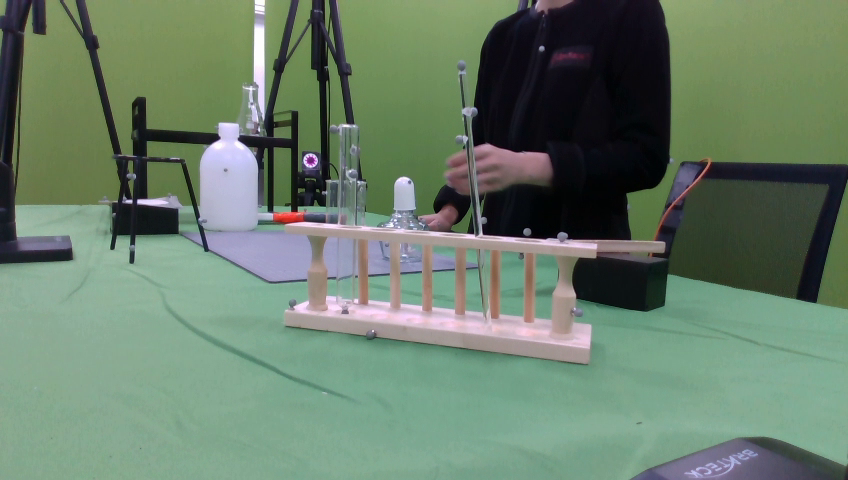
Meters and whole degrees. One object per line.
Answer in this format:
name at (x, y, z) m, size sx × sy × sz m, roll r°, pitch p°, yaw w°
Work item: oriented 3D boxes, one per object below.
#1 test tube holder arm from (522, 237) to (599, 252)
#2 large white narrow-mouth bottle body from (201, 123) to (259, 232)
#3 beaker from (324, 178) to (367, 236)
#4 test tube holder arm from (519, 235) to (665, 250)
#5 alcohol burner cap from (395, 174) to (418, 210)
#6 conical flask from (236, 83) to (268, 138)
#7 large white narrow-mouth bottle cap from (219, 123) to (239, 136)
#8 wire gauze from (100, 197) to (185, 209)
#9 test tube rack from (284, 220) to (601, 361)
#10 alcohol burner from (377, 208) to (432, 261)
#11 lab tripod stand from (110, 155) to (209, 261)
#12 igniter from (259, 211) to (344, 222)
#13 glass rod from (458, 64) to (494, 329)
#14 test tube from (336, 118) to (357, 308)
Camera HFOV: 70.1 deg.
test tube holder arm at (0.144, 0.005, 0.636) m, size 0.088 × 0.015 × 0.010 m, roll -1°, pitch 17°, yaw -20°
large white narrow-mouth bottle body at (-0.358, -0.116, 1.116) m, size 0.102 × 0.194 × 0.102 m, roll 2°, pitch 8°, yaw 0°
beaker at (-0.139, -0.060, 1.083) m, size 0.074 × 0.100 × 0.083 m, roll -3°, pitch 10°, yaw -31°
test tube holder arm at (0.186, 0.003, 0.656) m, size 0.179 × 0.015 × 0.013 m, roll -1°, pitch 17°, yaw -20°
alcohol burner cap at (-0.026, -0.067, 0.834) m, size 0.034 × 0.048 × 0.034 m, roll -2°, pitch 12°, yaw 1°
conical flask at (-0.400, -0.298, 1.396) m, size 0.075 × 0.122 × 0.075 m, roll 2°, pitch 8°, yaw 0°
large white narrow-mouth bottle cap at (-0.356, -0.201, 1.104) m, size 0.038 × 0.024 × 0.037 m, roll 2°, pitch 8°, yaw 0°
wire gauze at (-0.469, -0.062, 1.008) m, size 0.126 × 0.011 × 0.121 m, roll -2°, pitch 8°, yaw -25°
test tube rack at (0.013, 0.032, 0.482) m, size 0.242 × 0.085 × 0.067 m, roll 4°, pitch 7°, yaw 16°
alcohol burner at (-0.027, -0.031, 0.838) m, size 0.078 × 0.119 × 0.078 m, roll 0°, pitch 6°, yaw 0°
lab tripod stand at (-0.361, -0.046, 0.806) m, size 0.148 × 0.131 × 0.148 m, roll 2°, pitch 5°, yaw 0°
igniter at (-0.302, -0.047, 1.249) m, size 0.278 × 0.025 × 0.057 m, roll -2°, pitch -2°, yaw -27°
glass rod at (0.039, -0.029, 0.449) m, size 0.008 × 0.199 × 0.008 m, roll -7°, pitch 9°, yaw 1°
test tube at (-0.061, -0.019, 0.476) m, size 0.017 × 0.150 × 0.017 m, roll 2°, pitch 11°, yaw 0°
